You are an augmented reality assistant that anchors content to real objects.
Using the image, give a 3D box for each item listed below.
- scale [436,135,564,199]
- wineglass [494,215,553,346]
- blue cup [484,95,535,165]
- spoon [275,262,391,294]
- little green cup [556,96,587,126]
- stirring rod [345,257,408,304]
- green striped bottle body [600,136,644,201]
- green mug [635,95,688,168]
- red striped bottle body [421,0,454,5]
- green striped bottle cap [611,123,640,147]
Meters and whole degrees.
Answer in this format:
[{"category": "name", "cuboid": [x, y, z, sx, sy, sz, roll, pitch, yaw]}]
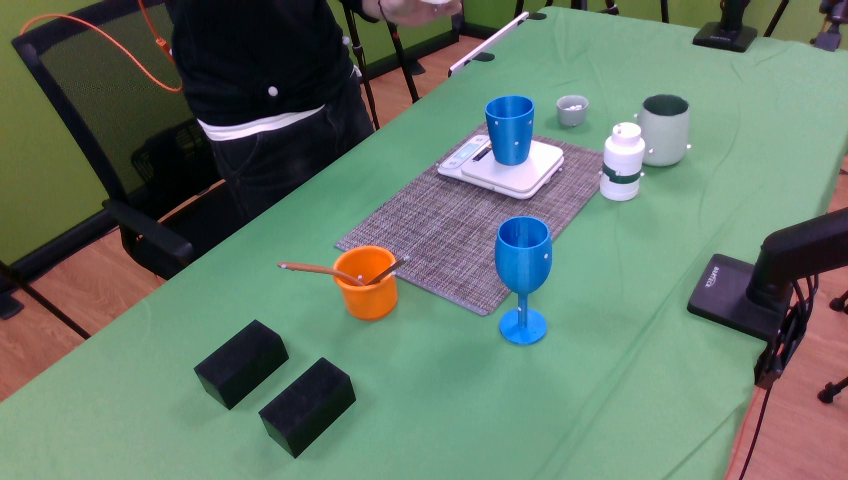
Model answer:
[{"category": "scale", "cuboid": [0.137, -0.142, 1.101, 0.199, 0.032, 0.149, 22, 48, 30]}, {"category": "wineglass", "cuboid": [0.127, 0.055, 0.770, 0.074, 0.173, 0.073, -4, 40, 4]}, {"category": "blue cup", "cuboid": [0.150, -0.188, 1.053, 0.092, 0.100, 0.092, -6, 39, 5]}, {"category": "spoon", "cuboid": [-0.120, 0.050, 0.830, 0.041, 0.195, 0.021, 31, 97, 45]}, {"category": "little green cup", "cuboid": [0.295, -0.258, 1.214, 0.061, 0.039, 0.061, -4, 42, 4]}, {"category": "stirring rod", "cuboid": [-0.067, 0.057, 0.815, 0.014, 0.175, 0.006, -25, 82, -38]}, {"category": "green striped bottle body", "cuboid": [0.326, -0.128, 0.997, 0.063, 0.120, 0.063, -4, 41, 4]}, {"category": "green mug", "cuboid": [0.421, -0.201, 1.081, 0.092, 0.105, 0.125, 5, 42, 15]}, {"category": "red striped bottle body", "cuboid": [0.018, -0.402, 0.853, 0.063, 0.120, 0.062, -3, 45, 3]}, {"category": "green striped bottle cap", "cuboid": [0.322, -0.168, 0.963, 0.044, 0.020, 0.044, -3, 42, 3]}]
